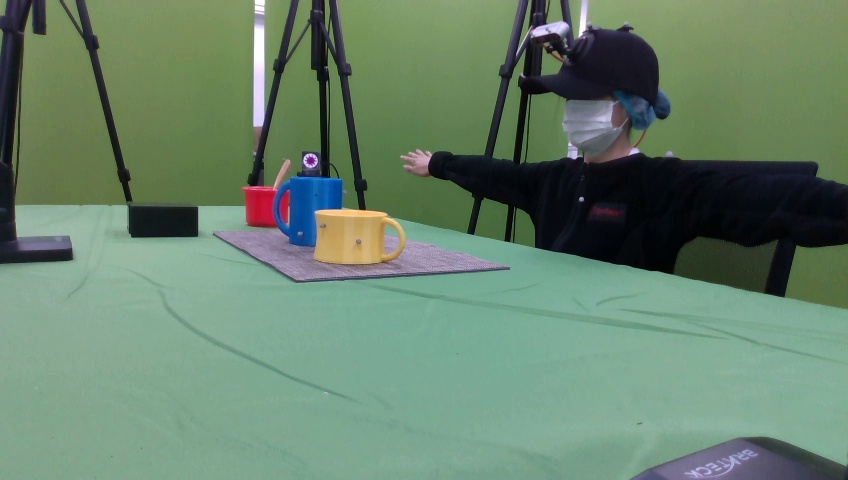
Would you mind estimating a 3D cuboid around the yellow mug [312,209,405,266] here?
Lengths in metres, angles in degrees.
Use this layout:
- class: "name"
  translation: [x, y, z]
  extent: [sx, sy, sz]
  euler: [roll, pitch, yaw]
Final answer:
- class: "yellow mug"
  translation: [-0.086, -0.004, 0.817]
  extent: [0.130, 0.064, 0.100]
  euler: [6, 8, 18]

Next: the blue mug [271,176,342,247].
- class: "blue mug"
  translation: [-0.190, -0.047, 0.963]
  extent: [0.116, 0.106, 0.082]
  euler: [4, 7, 13]

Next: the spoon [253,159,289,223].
- class: "spoon"
  translation: [-0.307, -0.104, 1.244]
  extent: [0.041, 0.022, 0.193]
  euler: [1, 51, 12]
